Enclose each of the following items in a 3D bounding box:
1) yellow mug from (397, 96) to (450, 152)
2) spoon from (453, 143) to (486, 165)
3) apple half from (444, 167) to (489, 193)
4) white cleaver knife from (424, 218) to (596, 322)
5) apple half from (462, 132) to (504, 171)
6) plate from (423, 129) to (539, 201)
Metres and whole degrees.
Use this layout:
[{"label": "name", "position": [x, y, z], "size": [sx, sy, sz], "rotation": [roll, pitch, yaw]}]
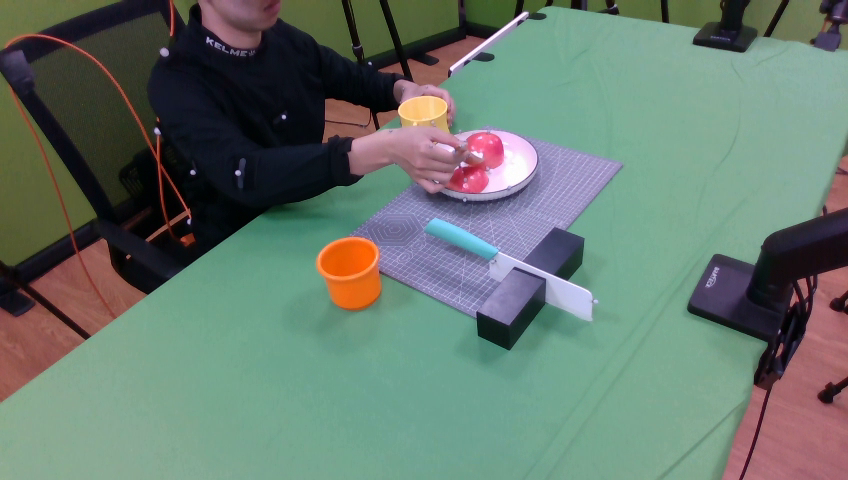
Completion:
[{"label": "yellow mug", "position": [-0.004, -0.226, 1.200], "size": [0.099, 0.064, 0.130], "rotation": [5, 43, 15]}, {"label": "spoon", "position": [0.068, -0.142, 0.982], "size": [0.041, 0.021, 0.194], "rotation": [2, -2, 14]}, {"label": "apple half", "position": [0.074, -0.112, 1.062], "size": [0.081, 0.033, 0.081], "rotation": [-7, 39, 6]}, {"label": "white cleaver knife", "position": [0.114, 0.042, 0.865], "size": [0.284, 0.066, 0.021], "rotation": [27, 46, 29]}, {"label": "apple half", "position": [0.109, -0.170, 1.110], "size": [0.075, 0.053, 0.080], "rotation": [-6, 40, -2]}, {"label": "plate", "position": [0.103, -0.132, 1.092], "size": [0.209, 0.038, 0.208], "rotation": [-4, 40, 4]}]
